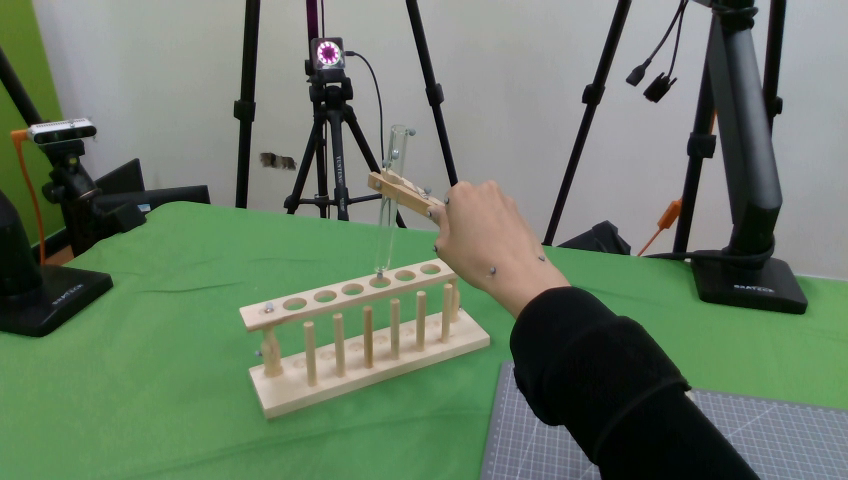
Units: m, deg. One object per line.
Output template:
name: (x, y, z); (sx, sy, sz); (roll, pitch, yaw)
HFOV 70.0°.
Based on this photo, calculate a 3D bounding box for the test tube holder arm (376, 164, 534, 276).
test tube holder arm: (0.020, -0.021, 0.502); (0.176, 0.015, 0.013); (34, 44, 32)

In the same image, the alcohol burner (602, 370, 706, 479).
alcohol burner: (0.179, 0.145, 0.466); (0.078, 0.120, 0.077); (1, 30, 0)

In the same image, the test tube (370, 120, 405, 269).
test tube: (-0.034, -0.036, 0.546); (0.017, 0.151, 0.017); (7, 33, -4)

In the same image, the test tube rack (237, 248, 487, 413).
test tube rack: (-0.054, 0.085, 0.614); (0.243, 0.086, 0.066); (-13, 31, -24)

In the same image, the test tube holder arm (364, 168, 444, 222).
test tube holder arm: (-0.017, -0.039, 0.521); (0.087, 0.015, 0.010); (28, 41, 26)
